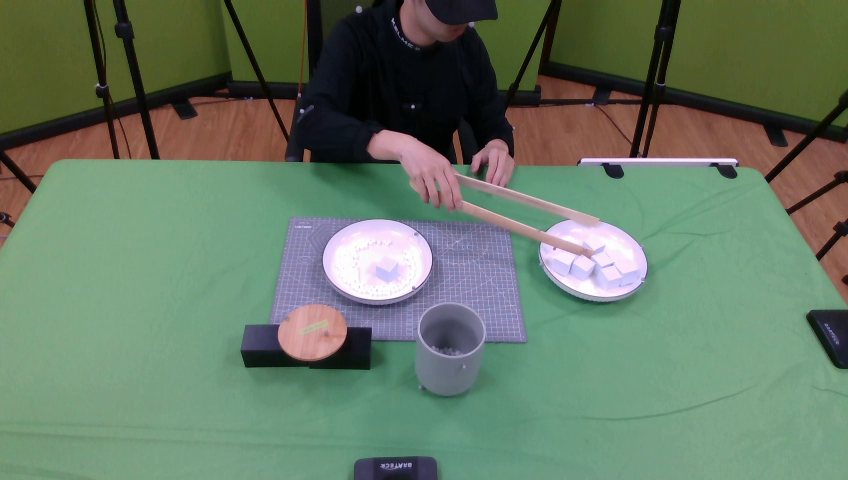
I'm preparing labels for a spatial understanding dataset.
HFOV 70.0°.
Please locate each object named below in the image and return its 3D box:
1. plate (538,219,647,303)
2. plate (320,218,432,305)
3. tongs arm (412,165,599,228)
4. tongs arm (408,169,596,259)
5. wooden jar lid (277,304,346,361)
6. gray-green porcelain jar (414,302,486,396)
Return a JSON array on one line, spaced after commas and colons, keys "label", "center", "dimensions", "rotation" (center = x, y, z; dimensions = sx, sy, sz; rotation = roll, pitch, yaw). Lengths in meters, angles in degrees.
[{"label": "plate", "center": [0.322, 0.042, 1.171], "dimensions": [0.208, 0.039, 0.206], "rotation": [2, 46, -2]}, {"label": "plate", "center": [-0.089, 0.044, 1.134], "dimensions": [0.209, 0.038, 0.208], "rotation": [3, 46, -2]}, {"label": "tongs arm", "center": [0.162, -0.086, 1.210], "dimensions": [0.388, 0.028, 0.028], "rotation": [17, 52, -3]}, {"label": "tongs arm", "center": [0.149, -0.051, 1.175], "dimensions": [0.385, 0.026, 0.050], "rotation": [19, 49, 0]}, {"label": "wooden jar lid", "center": [-0.179, 0.150, 0.972], "dimensions": [0.108, 0.021, 0.107], "rotation": [2, 45, -2]}, {"label": "gray-green porcelain jar", "center": [0.038, 0.177, 0.958], "dimensions": [0.106, 0.127, 0.105], "rotation": [2, 46, -2]}]
